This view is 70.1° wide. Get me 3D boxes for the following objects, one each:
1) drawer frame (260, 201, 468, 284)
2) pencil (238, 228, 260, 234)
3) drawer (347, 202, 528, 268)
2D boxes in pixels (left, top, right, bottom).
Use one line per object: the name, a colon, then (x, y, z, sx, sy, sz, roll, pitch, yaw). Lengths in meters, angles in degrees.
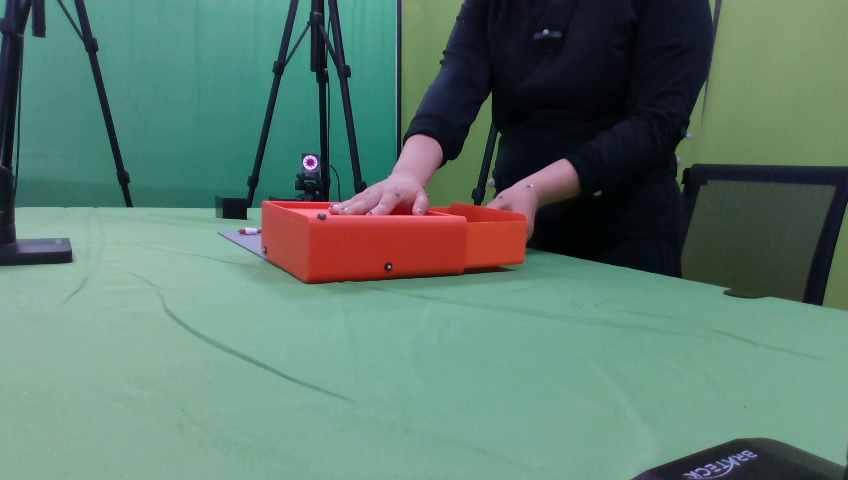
drawer frame: (-0.083, -0.004, 0.794, 0.215, 0.082, 0.200, -2, 10, -30)
pencil: (-0.241, -0.015, 1.106, 0.195, 0.012, 0.012, 1, 7, -30)
drawer: (0.003, -0.009, 0.846, 0.213, 0.073, 0.193, -3, 11, -30)
